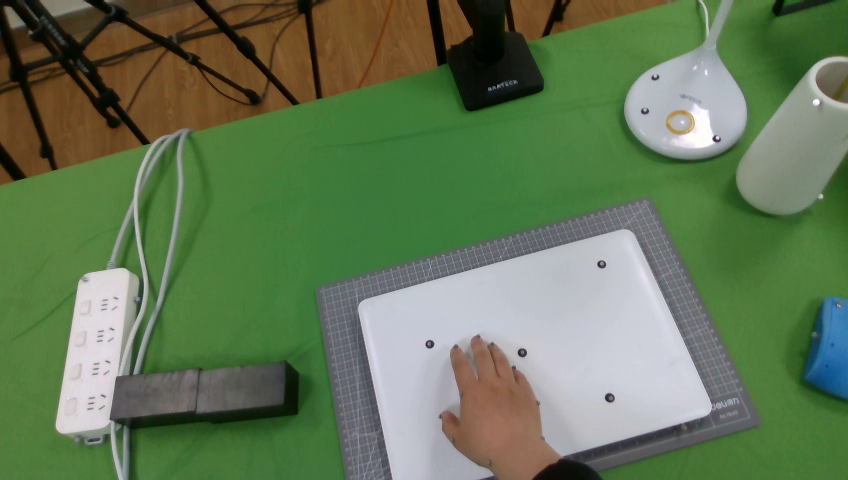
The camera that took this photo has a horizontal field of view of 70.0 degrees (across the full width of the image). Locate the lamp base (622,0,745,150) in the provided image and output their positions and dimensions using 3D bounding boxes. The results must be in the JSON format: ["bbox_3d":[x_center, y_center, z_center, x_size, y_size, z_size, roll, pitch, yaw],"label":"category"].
[{"bbox_3d":[0.349,-0.235,0.764,0.160,0.182,0.178,15,64,14],"label":"lamp base"}]

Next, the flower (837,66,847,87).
[{"bbox_3d":[0.432,-0.171,0.620,0.038,0.365,0.043,-20,52,-23],"label":"flower"}]

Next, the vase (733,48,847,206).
[{"bbox_3d":[0.427,-0.122,0.689,0.098,0.202,0.097,-3,62,7],"label":"vase"}]

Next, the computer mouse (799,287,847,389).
[{"bbox_3d":[0.460,0.104,0.664,0.062,0.041,0.116,23,64,20],"label":"computer mouse"}]

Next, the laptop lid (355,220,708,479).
[{"bbox_3d":[0.112,0.120,0.692,0.357,0.013,0.239,-14,65,-1],"label":"laptop lid"}]

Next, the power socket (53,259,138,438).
[{"bbox_3d":[-0.403,0.126,0.750,0.072,0.033,0.224,-8,63,1],"label":"power socket"}]

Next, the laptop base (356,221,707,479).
[{"bbox_3d":[0.112,0.123,0.703,0.354,0.023,0.233,-15,67,-2],"label":"laptop base"}]
